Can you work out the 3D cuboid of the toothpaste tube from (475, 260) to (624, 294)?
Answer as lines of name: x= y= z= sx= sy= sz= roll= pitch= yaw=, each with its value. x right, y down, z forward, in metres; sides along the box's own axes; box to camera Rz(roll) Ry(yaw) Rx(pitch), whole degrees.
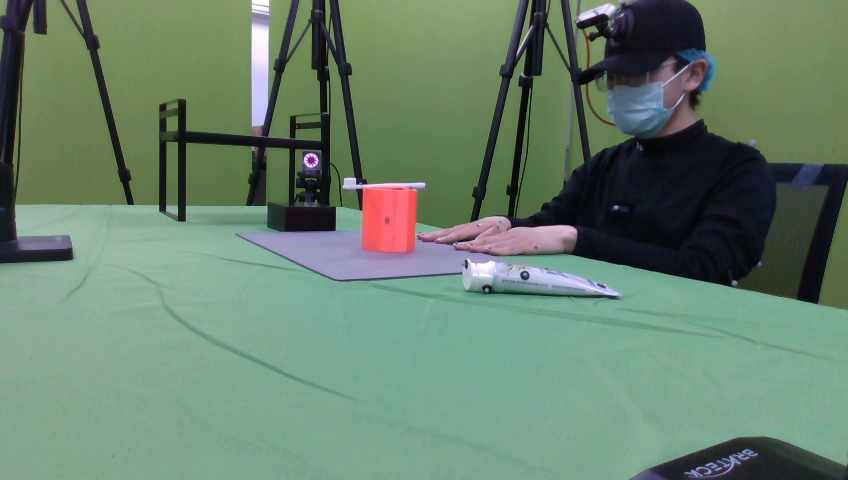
toothpaste tube: x=0.134 y=0.045 z=0.668 sx=0.165 sy=0.034 sz=0.055 roll=5 pitch=14 yaw=-7

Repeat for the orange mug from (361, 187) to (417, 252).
orange mug: x=-0.054 y=-0.038 z=0.962 sx=0.083 sy=0.101 sz=0.126 roll=2 pitch=12 yaw=0

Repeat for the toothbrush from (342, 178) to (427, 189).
toothbrush: x=-0.058 y=-0.089 z=0.948 sx=0.014 sy=0.016 sz=0.183 roll=5 pitch=7 yaw=41

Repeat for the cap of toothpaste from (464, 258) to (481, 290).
cap of toothpaste: x=0.053 y=0.037 z=0.660 sx=0.011 sy=0.037 sz=0.037 roll=-1 pitch=8 yaw=-15
